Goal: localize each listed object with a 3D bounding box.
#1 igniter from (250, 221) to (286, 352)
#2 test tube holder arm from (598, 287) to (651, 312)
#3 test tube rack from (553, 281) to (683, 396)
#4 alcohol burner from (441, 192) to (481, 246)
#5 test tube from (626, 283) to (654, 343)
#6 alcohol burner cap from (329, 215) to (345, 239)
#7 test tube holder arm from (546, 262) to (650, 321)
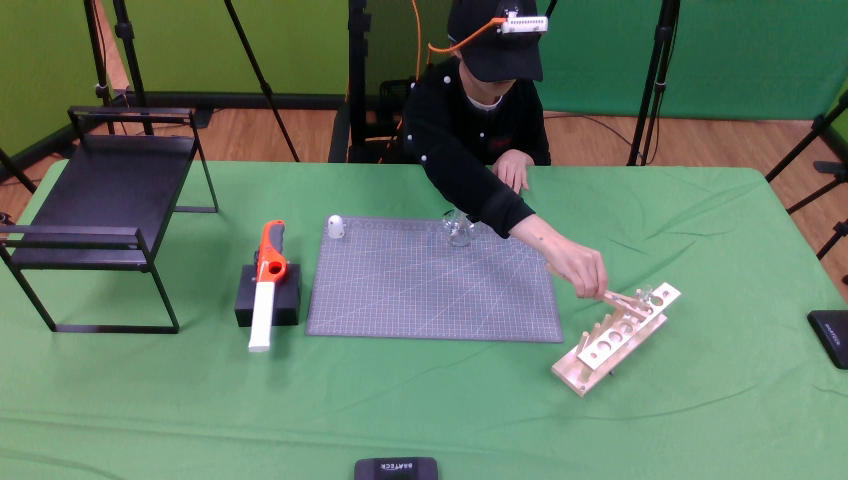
[{"bbox_3d":[-0.269,0.068,1.042,0.057,0.025,0.274,0,48,-7],"label":"igniter"},{"bbox_3d":[0.323,0.096,0.982,0.088,0.015,0.010,17,45,6],"label":"test tube holder arm"},{"bbox_3d":[0.329,0.153,1.023,0.242,0.085,0.066,-30,54,-28],"label":"test tube rack"},{"bbox_3d":[0.073,-0.046,1.176,0.078,0.119,0.077,2,44,-2],"label":"alcohol burner"},{"bbox_3d":[0.348,0.122,0.985,0.017,0.151,0.017,-1,47,1],"label":"test tube"},{"bbox_3d":[-0.172,-0.028,1.192,0.034,0.048,0.033,1,47,-1],"label":"alcohol burner cap"},{"bbox_3d":[0.281,0.082,0.988,0.178,0.015,0.013,27,47,16],"label":"test tube holder arm"}]
